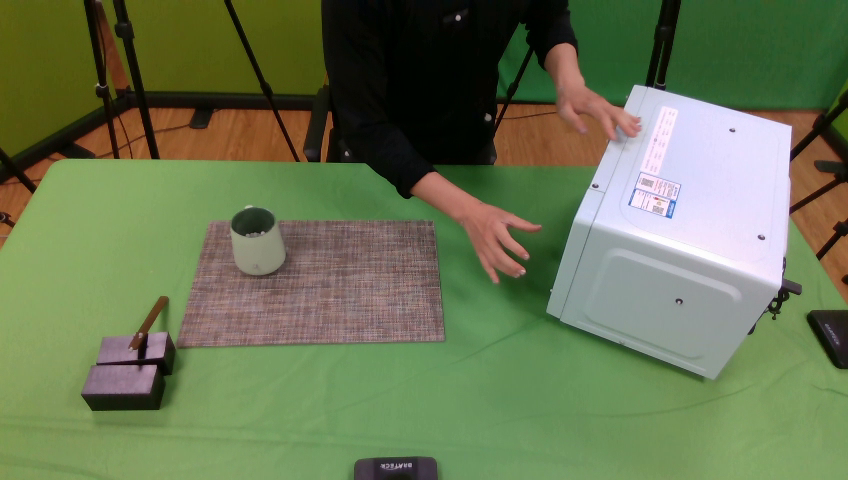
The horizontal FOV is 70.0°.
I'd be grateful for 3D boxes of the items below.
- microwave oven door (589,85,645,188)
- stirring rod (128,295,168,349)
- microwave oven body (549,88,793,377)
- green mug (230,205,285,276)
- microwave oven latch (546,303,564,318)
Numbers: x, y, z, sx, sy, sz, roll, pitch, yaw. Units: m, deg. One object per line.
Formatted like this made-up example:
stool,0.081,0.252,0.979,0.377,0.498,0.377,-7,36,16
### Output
microwave oven door,0.342,-0.107,1.149,0.039,0.245,0.354,20,48,15
stirring rod,-0.451,0.131,0.996,0.014,0.006,0.175,9,21,-10
microwave oven body,0.456,-0.028,1.088,0.325,0.261,0.440,20,47,16
green mug,-0.311,-0.008,1.118,0.092,0.105,0.124,-14,48,-16
microwave oven latch,0.242,0.102,1.081,0.030,0.029,0.079,22,48,17
